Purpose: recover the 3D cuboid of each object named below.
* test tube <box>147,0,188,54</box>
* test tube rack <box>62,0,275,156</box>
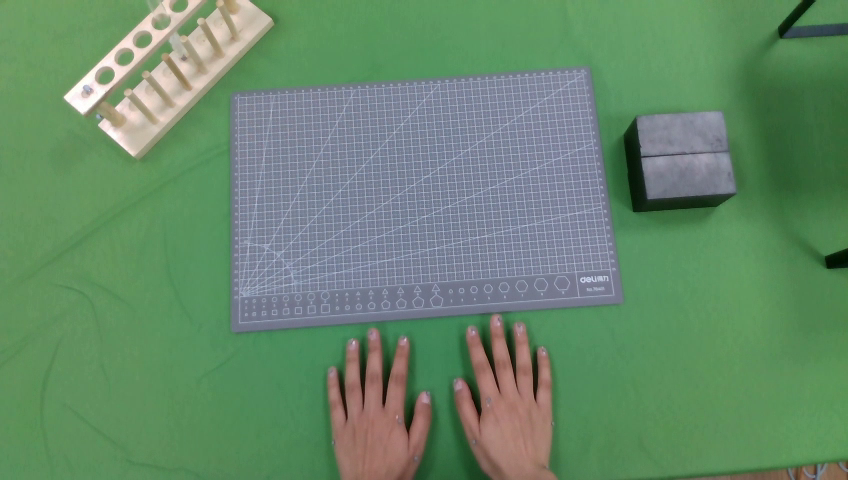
[{"bbox_3d":[-0.296,-0.258,0.679,0.017,0.151,0.017,1,72,-2],"label":"test tube"},{"bbox_3d":[-0.295,-0.221,0.722,0.066,0.085,0.242,40,80,9],"label":"test tube rack"}]
